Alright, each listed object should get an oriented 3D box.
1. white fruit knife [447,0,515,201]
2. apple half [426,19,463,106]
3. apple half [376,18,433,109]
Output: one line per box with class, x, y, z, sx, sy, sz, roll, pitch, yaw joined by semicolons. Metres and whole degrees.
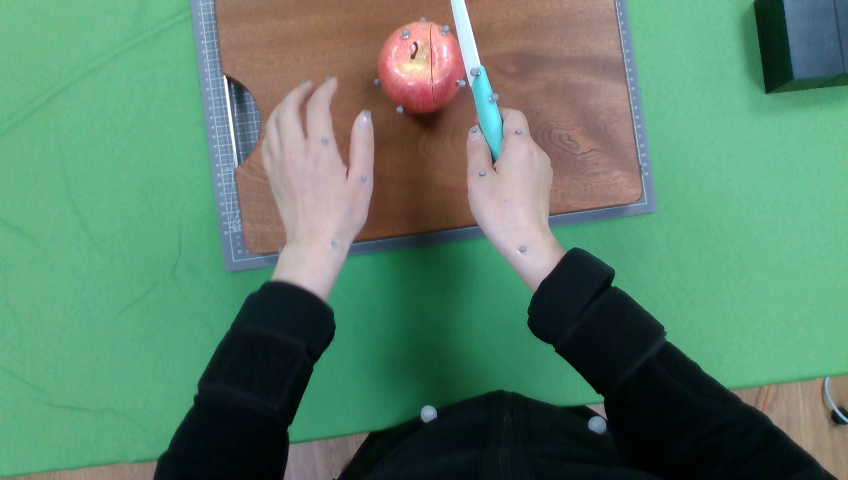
white fruit knife;0.042;-0.135;0.500;0.016;0.027;0.207;-16;92;-30
apple half;0.020;-0.165;0.569;0.033;0.081;0.081;-3;87;3
apple half;-0.018;-0.163;0.571;0.053;0.074;0.081;-3;91;4
